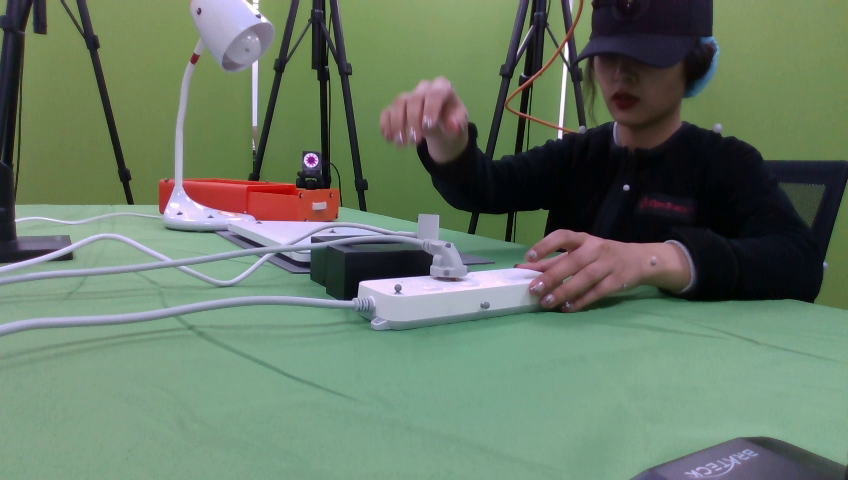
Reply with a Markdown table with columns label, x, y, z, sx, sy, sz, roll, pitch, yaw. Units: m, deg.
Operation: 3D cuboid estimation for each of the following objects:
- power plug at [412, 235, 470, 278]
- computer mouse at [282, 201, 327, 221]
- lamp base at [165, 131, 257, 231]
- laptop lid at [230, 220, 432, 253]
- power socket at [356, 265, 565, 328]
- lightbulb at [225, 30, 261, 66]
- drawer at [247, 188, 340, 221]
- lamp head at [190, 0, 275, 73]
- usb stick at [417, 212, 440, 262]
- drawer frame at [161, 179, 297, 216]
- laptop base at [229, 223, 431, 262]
| label | x | y | z | sx | sy | sz | roll | pitch | yaw |
| --- | --- | --- | --- | --- | --- | --- | --- | --- | --- |
| power plug | 0.017 | 0.023 | 0.588 | 0.035 | 0.052 | 0.072 | -1 | 7 | -23 |
| computer mouse | -0.254 | -0.062 | 1.293 | 0.063 | 0.041 | 0.117 | 1 | 2 | 10 |
| lamp base | -0.407 | -0.112 | 1.119 | 0.179 | 0.180 | 0.161 | -1 | 7 | 7 |
| laptop lid | -0.143 | -0.009 | 0.942 | 0.243 | 0.013 | 0.355 | 1 | 7 | -31 |
| power socket | 0.041 | 0.049 | 0.572 | 0.228 | 0.032 | 0.072 | -3 | 8 | -34 |
| lightbulb | -0.317 | -0.335 | 1.001 | 0.107 | 0.059 | 0.059 | 47 | 16 | 5 |
| drawer | -0.314 | -0.078 | 1.301 | 0.211 | 0.073 | 0.195 | 4 | 8 | 15 |
| lamp head | -0.331 | -0.355 | 1.009 | 0.123 | 0.112 | 0.112 | 43 | 15 | 6 |
| usb stick | 0.006 | -0.003 | 0.721 | 0.027 | 0.059 | 0.021 | -1 | -4 | -2 |
| drawer frame | -0.421 | -0.089 | 1.329 | 0.213 | 0.082 | 0.202 | 4 | 8 | 16 |
| laptop base | -0.145 | 0.002 | 0.942 | 0.237 | 0.023 | 0.352 | 2 | 6 | -32 |
